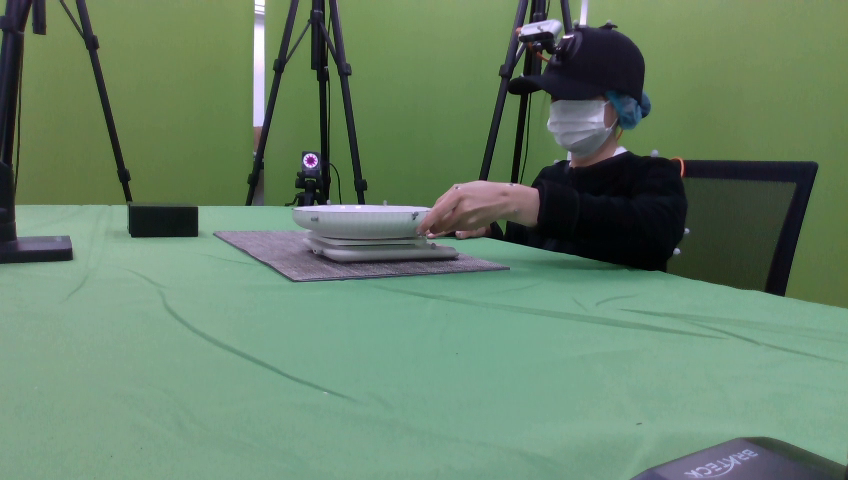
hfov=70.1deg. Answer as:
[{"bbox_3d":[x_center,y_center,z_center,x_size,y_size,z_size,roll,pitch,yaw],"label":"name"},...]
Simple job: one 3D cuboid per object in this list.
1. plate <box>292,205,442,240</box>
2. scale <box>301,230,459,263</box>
[{"bbox_3d":[-0.079,-0.026,0.850,0.208,0.039,0.207,1,6,0],"label":"plate"},{"bbox_3d":[-0.065,0.007,0.878,0.202,0.031,0.148,0,8,-29],"label":"scale"}]
